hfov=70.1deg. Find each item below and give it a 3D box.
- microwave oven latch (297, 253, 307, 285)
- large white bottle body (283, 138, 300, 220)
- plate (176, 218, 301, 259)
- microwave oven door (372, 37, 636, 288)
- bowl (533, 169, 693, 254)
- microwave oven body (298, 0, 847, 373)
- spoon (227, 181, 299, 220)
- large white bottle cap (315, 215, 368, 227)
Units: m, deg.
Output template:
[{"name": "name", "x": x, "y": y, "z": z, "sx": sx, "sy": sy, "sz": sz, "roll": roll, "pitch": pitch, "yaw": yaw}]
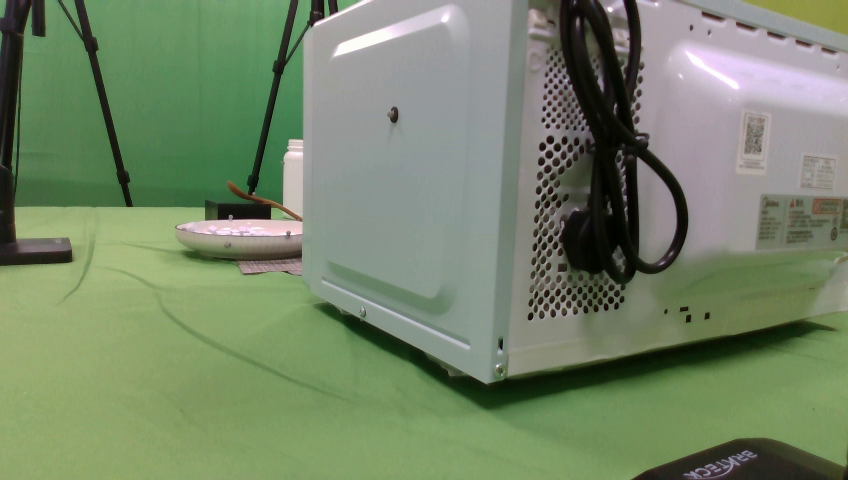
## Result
[{"name": "microwave oven latch", "x": -0.082, "y": 0.027, "z": 0.582, "sx": 0.079, "sy": 0.029, "sz": 0.030, "roll": -1, "pitch": 7, "yaw": -33}, {"name": "large white bottle body", "x": -0.265, "y": -0.143, "z": 1.423, "sx": 0.131, "sy": 0.184, "sz": 0.130, "roll": 2, "pitch": 7, "yaw": 0}, {"name": "plate", "x": -0.248, "y": -0.003, "z": 0.877, "sx": 0.209, "sy": 0.038, "sz": 0.209, "roll": 1, "pitch": 8, "yaw": 0}, {"name": "microwave oven door", "x": 0.110, "y": -0.080, "z": 0.686, "sx": 0.358, "sy": 0.243, "sz": 0.039, "roll": -2, "pitch": 9, "yaw": -33}, {"name": "bowl", "x": 0.181, "y": -0.030, "z": 0.596, "sx": 0.151, "sy": 0.077, "sz": 0.151, "roll": 1, "pitch": 7, "yaw": 0}, {"name": "microwave oven body", "x": 0.151, "y": -0.055, "z": 0.542, "sx": 0.444, "sy": 0.260, "sz": 0.324, "roll": -1, "pitch": 7, "yaw": -33}, {"name": "spoon", "x": -0.315, "y": -0.074, "z": 1.234, "sx": 0.195, "sy": 0.021, "sz": 0.041, "roll": 24, "pitch": -9, "yaw": -37}, {"name": "large white bottle cap", "x": -0.178, "y": -0.041, "z": 1.308, "sx": 0.115, "sy": 0.018, "sz": 0.115, "roll": 2, "pitch": 6, "yaw": 0}]
